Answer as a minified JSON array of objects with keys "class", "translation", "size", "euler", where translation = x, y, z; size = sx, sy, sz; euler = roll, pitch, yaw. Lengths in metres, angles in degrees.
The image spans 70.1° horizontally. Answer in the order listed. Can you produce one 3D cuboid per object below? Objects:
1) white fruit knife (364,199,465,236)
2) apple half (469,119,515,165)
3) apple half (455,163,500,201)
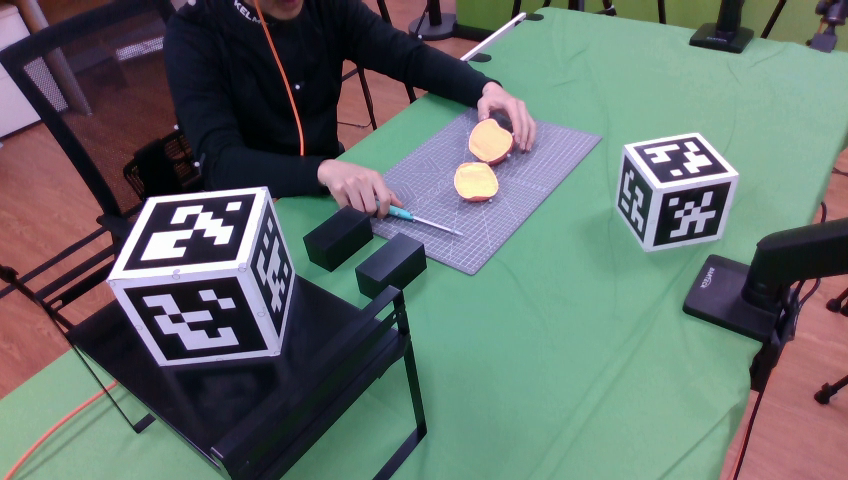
[{"class":"white fruit knife","translation":[-0.020,-0.038,1.015],"size":[0.206,0.016,0.027],"euler":[18,5,28]},{"class":"apple half","translation":[0.127,-0.176,1.125],"size":[0.080,0.053,0.074],"euler":[38,89,18]},{"class":"apple half","translation":[0.090,-0.096,1.053],"size":[0.081,0.033,0.081],"euler":[3,58,-4]}]
